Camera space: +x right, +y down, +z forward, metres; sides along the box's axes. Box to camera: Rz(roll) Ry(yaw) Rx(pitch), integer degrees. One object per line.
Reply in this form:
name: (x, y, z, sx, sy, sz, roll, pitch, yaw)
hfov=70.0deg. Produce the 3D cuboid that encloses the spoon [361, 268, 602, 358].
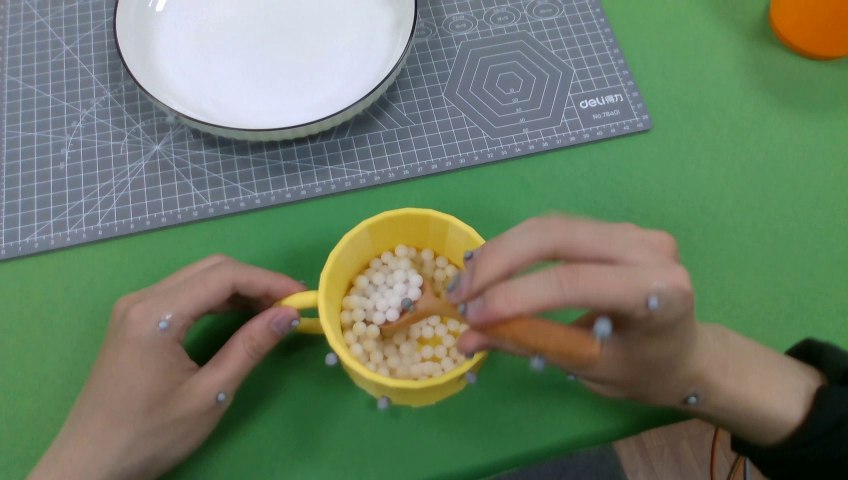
spoon: (0.013, 0.033, 0.292, 0.041, 0.193, 0.022, -46, 107, -18)

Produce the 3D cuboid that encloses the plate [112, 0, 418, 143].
plate: (-0.107, -0.155, 0.432, 0.208, 0.039, 0.206, 1, 68, -1)

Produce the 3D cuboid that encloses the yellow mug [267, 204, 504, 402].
yellow mug: (-0.023, 0.039, 0.345, 0.131, 0.064, 0.099, -3, 68, -2)
